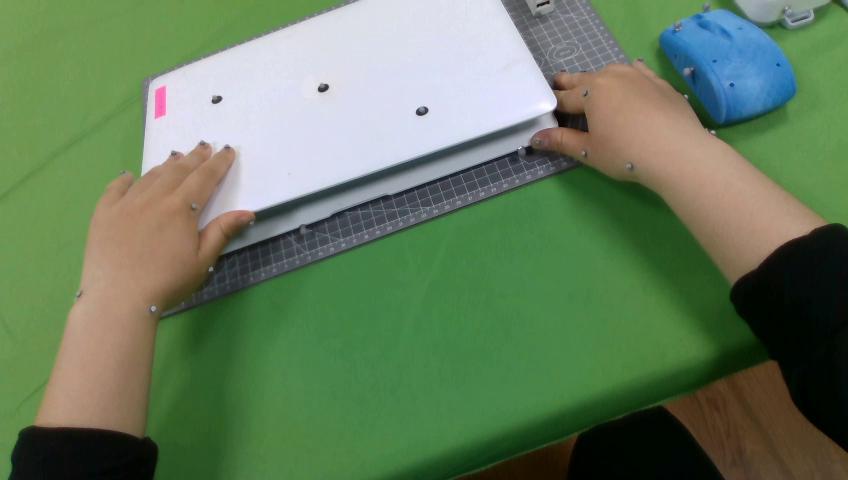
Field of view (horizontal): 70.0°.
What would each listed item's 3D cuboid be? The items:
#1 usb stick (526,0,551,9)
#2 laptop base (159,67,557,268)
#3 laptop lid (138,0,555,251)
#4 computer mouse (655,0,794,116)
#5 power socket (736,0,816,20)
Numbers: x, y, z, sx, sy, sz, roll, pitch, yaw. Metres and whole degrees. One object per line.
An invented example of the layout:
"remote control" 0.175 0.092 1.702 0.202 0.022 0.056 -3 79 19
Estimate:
"usb stick" 0.101 -0.248 0.572 0.021 0.027 0.058 -19 56 6
"laptop base" -0.084 -0.126 0.558 0.354 0.023 0.233 -20 62 3
"laptop lid" -0.089 -0.136 0.536 0.356 0.013 0.239 -18 54 4
"computer mouse" 0.236 -0.152 0.481 0.063 0.041 0.116 -20 54 5
"power socket" 0.283 -0.284 0.545 0.072 0.033 0.224 -18 59 5
